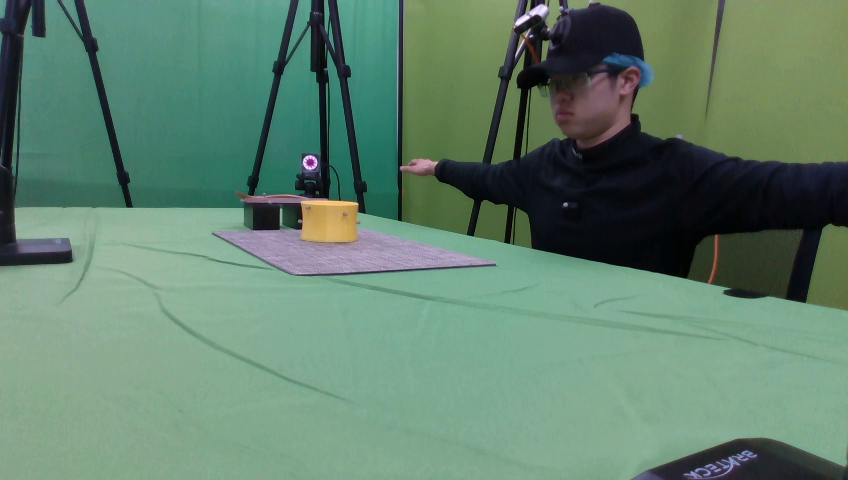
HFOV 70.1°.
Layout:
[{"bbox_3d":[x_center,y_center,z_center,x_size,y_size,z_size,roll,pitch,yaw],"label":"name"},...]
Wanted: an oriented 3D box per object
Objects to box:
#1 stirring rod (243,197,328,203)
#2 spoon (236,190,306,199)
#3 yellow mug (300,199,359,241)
[{"bbox_3d":[-0.271,-0.079,1.201,0.177,0.006,0.014,-2,46,-36],"label":"stirring rod"},{"bbox_3d":[-0.290,-0.088,1.248,0.195,0.021,0.041,0,5,-32],"label":"spoon"},{"bbox_3d":[-0.157,-0.036,1.060,0.099,0.064,0.131,6,7,27],"label":"yellow mug"}]
